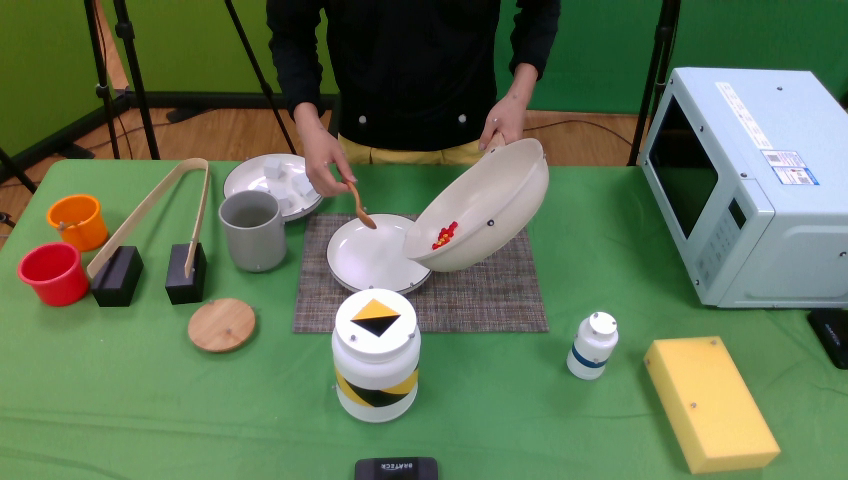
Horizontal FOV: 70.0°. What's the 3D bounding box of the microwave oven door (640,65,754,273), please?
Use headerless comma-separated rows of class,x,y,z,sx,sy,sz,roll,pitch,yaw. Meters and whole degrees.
microwave oven door,0.523,-0.147,1.193,0.039,0.245,0.353,0,47,-3

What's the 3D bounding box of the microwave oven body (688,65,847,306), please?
microwave oven body,0.669,-0.111,1.176,0.326,0.261,0.439,0,46,-3

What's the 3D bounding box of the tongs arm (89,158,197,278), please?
tongs arm,-0.530,-0.057,1.164,0.028,0.028,0.385,1,36,8

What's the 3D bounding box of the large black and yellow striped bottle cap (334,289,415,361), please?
large black and yellow striped bottle cap,-0.069,0.117,0.850,0.115,0.019,0.114,2,45,-2

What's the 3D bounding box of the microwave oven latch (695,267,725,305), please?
microwave oven latch,0.524,0.082,1.115,0.030,0.029,0.078,4,46,1

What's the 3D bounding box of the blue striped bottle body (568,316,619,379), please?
blue striped bottle body,0.276,0.168,0.984,0.063,0.121,0.062,2,46,-2

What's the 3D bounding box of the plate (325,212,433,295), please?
plate,-0.080,0.030,1.143,0.209,0.038,0.208,3,46,-3

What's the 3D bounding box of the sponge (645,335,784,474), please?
sponge,0.449,0.253,0.956,0.118,0.061,0.205,-4,46,-7

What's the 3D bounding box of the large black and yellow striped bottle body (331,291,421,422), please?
large black and yellow striped bottle body,-0.071,0.175,0.911,0.131,0.185,0.130,2,47,-2

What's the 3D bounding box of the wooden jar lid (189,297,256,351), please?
wooden jar lid,-0.342,0.145,1.033,0.108,0.021,0.107,2,45,-2

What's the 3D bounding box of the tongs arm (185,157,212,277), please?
tongs arm,-0.445,-0.058,1.168,0.051,0.026,0.382,-5,37,-6

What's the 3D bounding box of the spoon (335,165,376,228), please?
spoon,-0.125,-0.082,1.082,0.021,0.042,0.192,-21,43,-9

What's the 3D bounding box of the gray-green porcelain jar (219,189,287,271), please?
gray-green porcelain jar,-0.310,-0.014,1.113,0.106,0.127,0.105,2,46,-2

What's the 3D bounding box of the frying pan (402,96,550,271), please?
frying pan,0.118,-0.126,1.084,0.103,0.306,0.485,43,43,-23

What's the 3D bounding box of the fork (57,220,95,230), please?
fork,-0.624,-0.027,1.086,0.028,0.207,0.018,-3,92,-17

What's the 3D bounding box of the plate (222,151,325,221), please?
plate,-0.310,-0.106,1.263,0.208,0.039,0.206,2,46,-2

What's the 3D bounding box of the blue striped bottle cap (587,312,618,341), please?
blue striped bottle cap,0.279,0.134,0.946,0.044,0.021,0.044,2,45,-2
